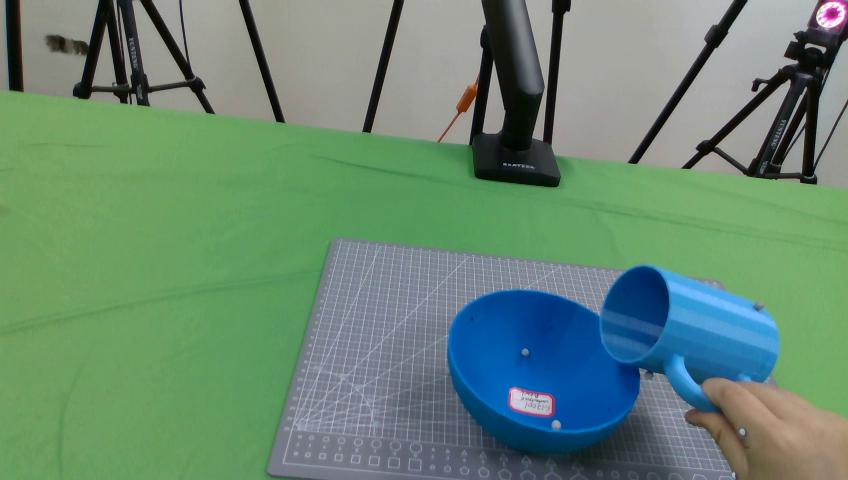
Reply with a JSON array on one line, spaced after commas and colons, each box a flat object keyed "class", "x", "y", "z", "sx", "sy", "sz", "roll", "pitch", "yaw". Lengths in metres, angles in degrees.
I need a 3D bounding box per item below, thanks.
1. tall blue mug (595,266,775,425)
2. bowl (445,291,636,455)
[{"class": "tall blue mug", "x": 0.203, "y": 0.077, "z": 0.453, "sx": 0.108, "sy": 0.078, "sz": 0.106, "roll": 18, "pitch": 11, "yaw": -19}, {"class": "bowl", "x": 0.085, "y": 0.119, "z": 0.491, "sx": 0.151, "sy": 0.077, "sz": 0.150, "roll": 6, "pitch": 35, "yaw": -4}]
